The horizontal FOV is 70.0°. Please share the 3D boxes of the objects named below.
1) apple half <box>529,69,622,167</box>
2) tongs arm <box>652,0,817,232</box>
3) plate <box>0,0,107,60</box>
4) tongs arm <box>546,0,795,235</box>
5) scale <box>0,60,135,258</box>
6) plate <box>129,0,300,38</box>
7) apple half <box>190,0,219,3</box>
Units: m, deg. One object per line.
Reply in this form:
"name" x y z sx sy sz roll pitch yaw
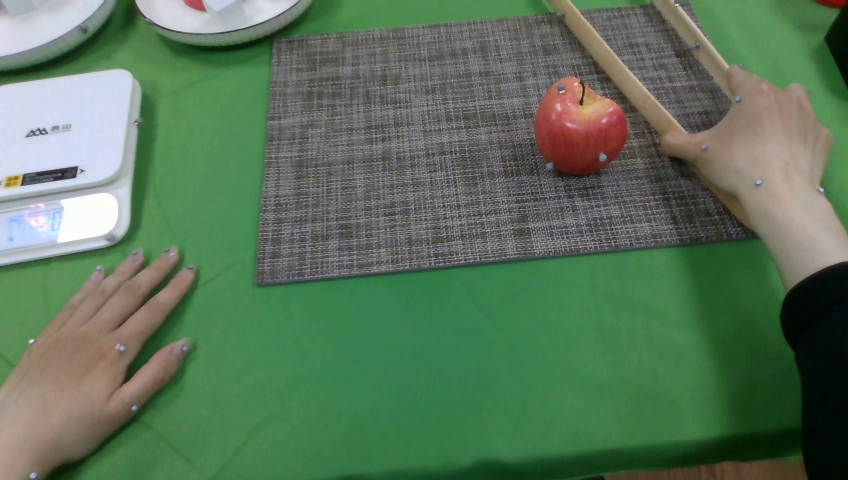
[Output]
"apple half" 0.120 -0.096 0.515 0.053 0.075 0.080 -40 69 -15
"tongs arm" 0.254 -0.172 0.580 0.051 0.027 0.381 -17 60 -8
"plate" -0.445 -0.267 0.666 0.207 0.039 0.205 -1 59 2
"tongs arm" 0.199 -0.153 0.573 0.028 0.028 0.383 -21 60 -14
"scale" -0.344 -0.079 0.552 0.149 0.032 0.199 -10 59 -3
"plate" -0.220 -0.292 0.673 0.209 0.038 0.207 -1 58 2
"apple half" -0.242 -0.300 0.672 0.081 0.033 0.080 -3 56 4
